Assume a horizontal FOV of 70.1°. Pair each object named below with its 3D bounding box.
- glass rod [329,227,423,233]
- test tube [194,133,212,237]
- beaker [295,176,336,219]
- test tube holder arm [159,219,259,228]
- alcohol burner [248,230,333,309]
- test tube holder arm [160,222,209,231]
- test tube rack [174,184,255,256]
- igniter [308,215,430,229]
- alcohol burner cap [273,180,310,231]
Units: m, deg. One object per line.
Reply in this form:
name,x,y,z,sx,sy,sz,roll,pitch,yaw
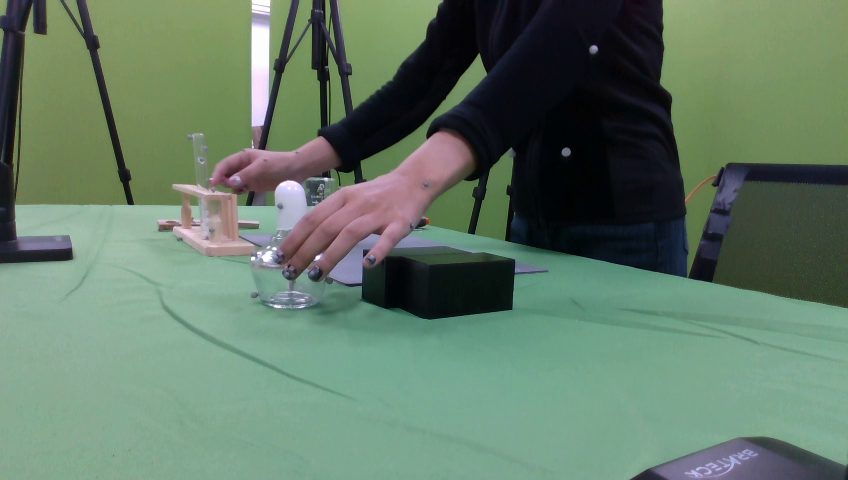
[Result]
glass rod,-0.087,-0.019,1.148,0.201,0.008,0.008,-3,8,-32
test tube,-0.321,-0.079,0.879,0.017,0.150,0.017,-3,4,1
beaker,-0.224,-0.080,1.247,0.084,0.100,0.073,-1,8,-18
test tube holder arm,-0.390,-0.030,1.107,0.179,0.015,0.013,-3,45,-39
alcohol burner,-0.125,0.004,0.568,0.078,0.119,0.078,1,9,0
test tube holder arm,-0.423,-0.024,1.076,0.088,0.015,0.010,-2,45,-38
test tube rack,-0.327,-0.036,0.928,0.067,0.085,0.241,-2,9,-32
igniter,-0.109,-0.037,1.228,0.278,0.025,0.057,-3,-1,-35
alcohol burner cap,-0.126,-0.032,0.563,0.034,0.048,0.034,-5,5,1
